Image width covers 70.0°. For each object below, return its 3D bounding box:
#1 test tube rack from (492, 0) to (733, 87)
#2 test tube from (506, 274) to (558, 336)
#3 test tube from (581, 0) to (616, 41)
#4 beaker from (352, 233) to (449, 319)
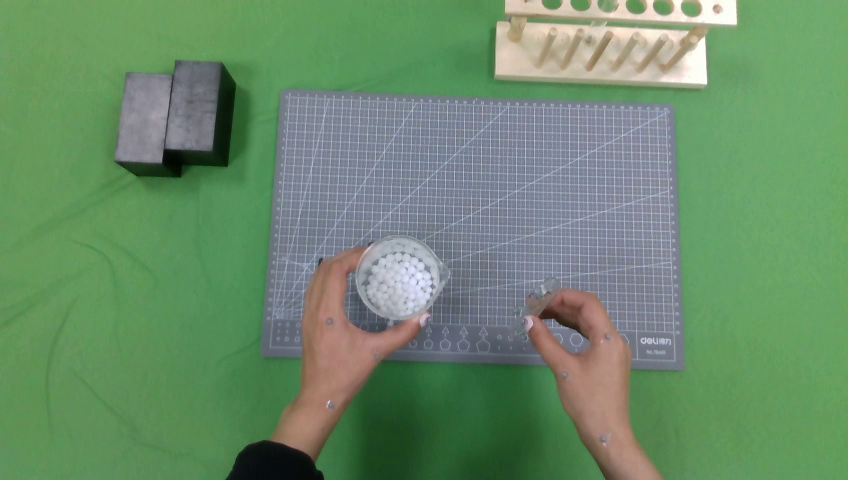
[{"bbox_3d":[0.201,-0.223,0.671,0.242,0.085,0.066,2,79,0],"label":"test tube rack"},{"bbox_3d":[0.097,0.064,0.561,0.017,0.151,0.017,2,66,-4],"label":"test tube"},{"bbox_3d":[0.191,-0.251,0.626,0.017,0.151,0.017,1,76,-3],"label":"test tube"},{"bbox_3d":[-0.023,0.037,0.565,0.084,0.100,0.073,-6,82,-5],"label":"beaker"}]
